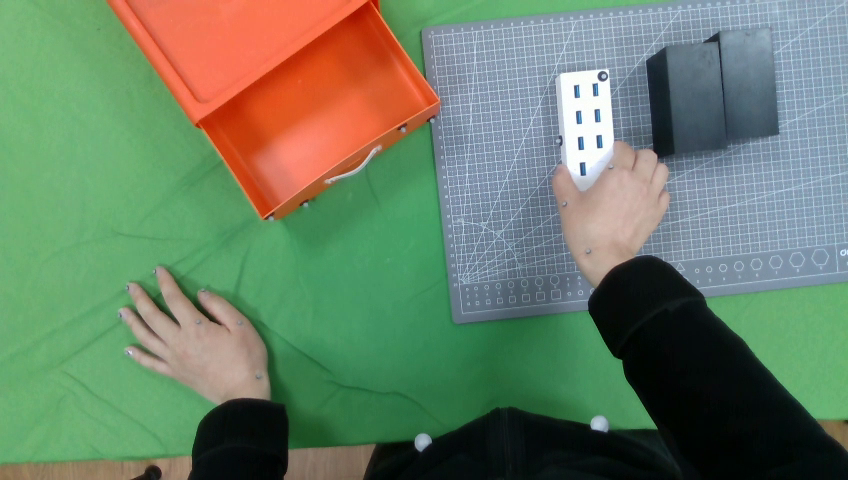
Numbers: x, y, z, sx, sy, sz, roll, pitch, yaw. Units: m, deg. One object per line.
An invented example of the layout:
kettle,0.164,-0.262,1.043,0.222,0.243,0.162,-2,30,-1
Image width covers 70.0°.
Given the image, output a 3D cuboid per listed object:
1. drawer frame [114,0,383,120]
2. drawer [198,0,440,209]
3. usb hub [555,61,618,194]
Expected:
drawer frame,-0.179,-0.250,0.557,0.201,0.082,0.213,-36,92,1
drawer,-0.122,-0.165,0.566,0.194,0.073,0.212,-33,93,1
usb hub,0.161,-0.110,0.599,0.049,0.025,0.125,-5,93,-1
